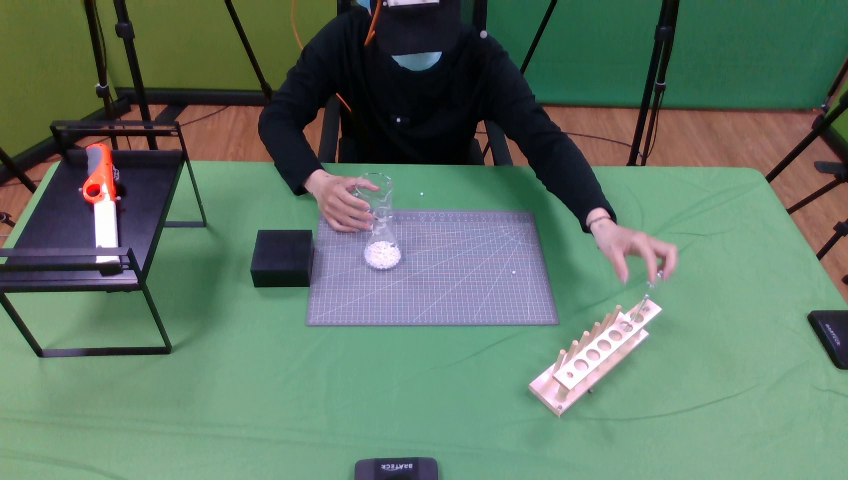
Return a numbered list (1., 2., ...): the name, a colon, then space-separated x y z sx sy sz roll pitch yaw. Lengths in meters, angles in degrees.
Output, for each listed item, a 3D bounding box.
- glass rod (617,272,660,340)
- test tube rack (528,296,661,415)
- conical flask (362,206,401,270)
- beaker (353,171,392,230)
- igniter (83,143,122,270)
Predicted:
1. glass rod: 0.337 0.119 0.972 0.008 0.200 0.008 5 45 -5
2. test tube rack: 0.285 0.178 1.005 0.242 0.085 0.066 -31 56 -29
3. conical flask: -0.078 -0.008 1.127 0.075 0.122 0.075 2 46 -2
4. beaker: -0.098 -0.074 1.203 0.074 0.101 0.083 -20 52 -21
5. igniter: -0.508 -0.063 0.962 0.057 0.025 0.274 -14 53 -18
